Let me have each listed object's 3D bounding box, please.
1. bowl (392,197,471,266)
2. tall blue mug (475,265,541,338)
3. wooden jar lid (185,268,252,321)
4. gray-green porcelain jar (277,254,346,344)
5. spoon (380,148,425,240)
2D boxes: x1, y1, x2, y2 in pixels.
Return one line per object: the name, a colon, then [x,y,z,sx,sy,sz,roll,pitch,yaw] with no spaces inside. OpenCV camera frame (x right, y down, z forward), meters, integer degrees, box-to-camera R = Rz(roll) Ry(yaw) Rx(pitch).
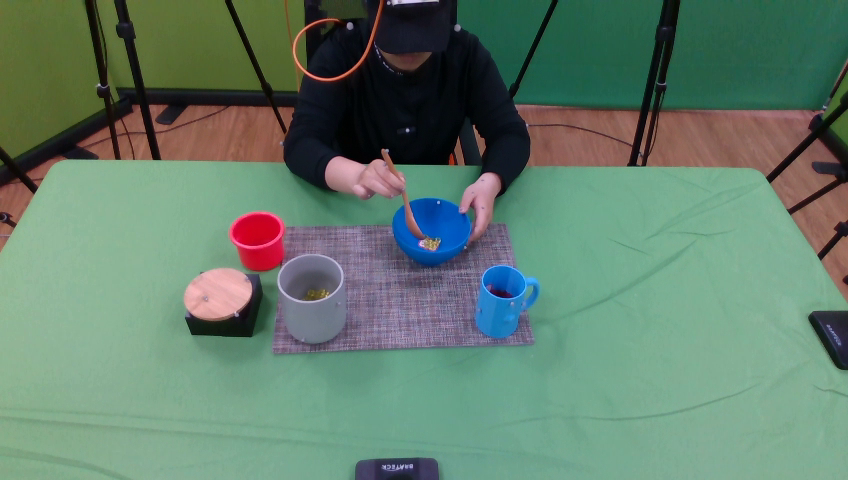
bowl: [0.013,-0.004,1.159,0.151,0.077,0.150,2,46,-2]
tall blue mug: [0.142,0.099,1.047,0.077,0.108,0.107,33,52,27]
wooden jar lid: [-0.343,0.093,1.015,0.108,0.021,0.107,3,46,-3]
gray-green porcelain jar: [-0.184,0.102,1.008,0.106,0.127,0.105,2,46,-2]
spoon: [-0.039,-0.078,1.082,0.021,0.194,0.041,-31,29,-22]
